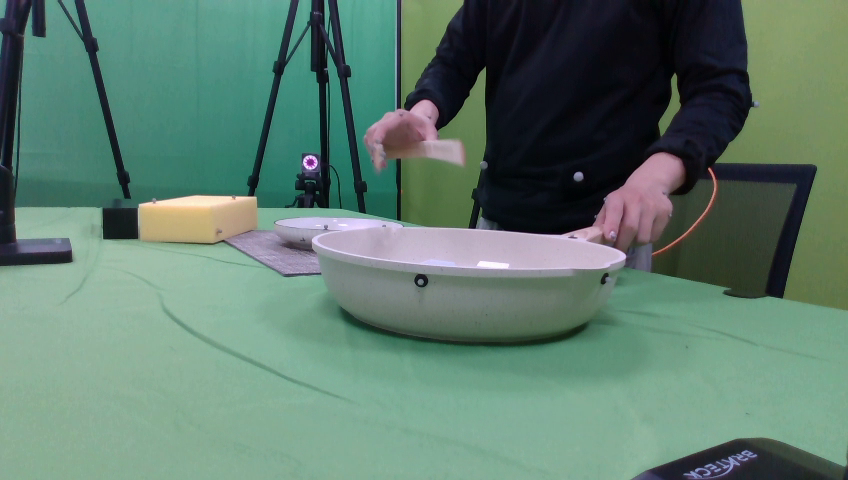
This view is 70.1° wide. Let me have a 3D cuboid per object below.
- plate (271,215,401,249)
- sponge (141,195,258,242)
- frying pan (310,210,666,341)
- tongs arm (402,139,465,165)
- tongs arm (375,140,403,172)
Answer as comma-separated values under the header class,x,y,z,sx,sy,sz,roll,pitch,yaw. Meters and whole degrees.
class,x,y,z,sx,sy,sz,roll,pitch,yaw
plate,-0.141,-0.012,0.978,0.208,0.039,0.207,3,7,0
sponge,-0.380,-0.040,1.047,0.118,0.061,0.207,1,8,3
frying pan,0.120,0.011,0.643,0.490,0.102,0.305,-13,16,-36
tongs arm,0.007,-0.118,0.792,0.028,0.028,0.386,-11,11,-7
tongs arm,-0.041,-0.114,0.788,0.051,0.026,0.384,-7,10,-4
